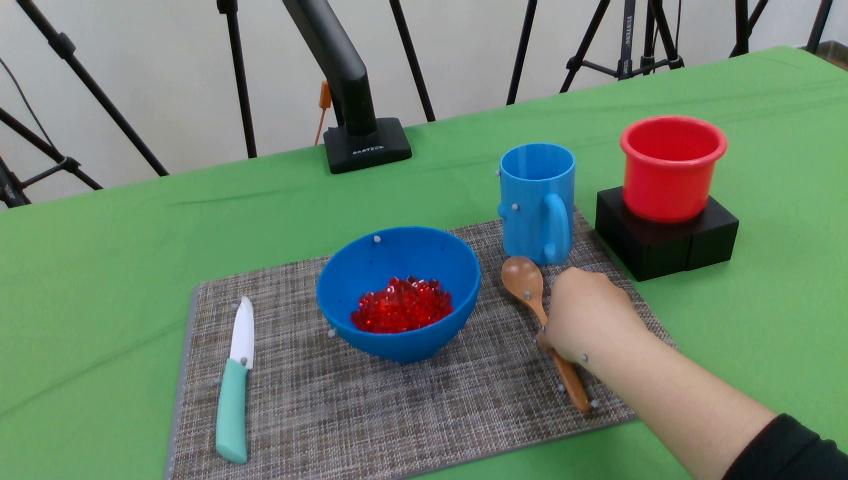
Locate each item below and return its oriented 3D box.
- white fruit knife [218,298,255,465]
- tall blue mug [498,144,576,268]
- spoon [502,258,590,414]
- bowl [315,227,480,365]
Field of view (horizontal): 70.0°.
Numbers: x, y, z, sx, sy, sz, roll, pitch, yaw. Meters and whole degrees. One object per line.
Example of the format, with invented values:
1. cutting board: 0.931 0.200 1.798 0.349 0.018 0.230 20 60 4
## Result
1. white fruit knife: -0.176 0.123 0.576 0.027 0.016 0.205 13 31 -21
2. tall blue mug: 0.130 -0.030 0.634 0.078 0.109 0.106 -30 42 -27
3. spoon: 0.112 0.081 0.564 0.041 0.022 0.191 -12 36 -3
4. bowl: -0.020 0.064 0.569 0.151 0.077 0.150 -5 38 5
